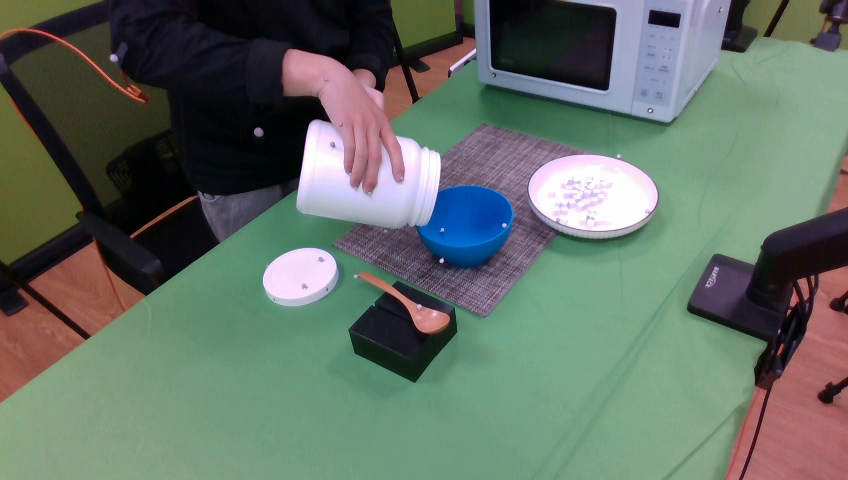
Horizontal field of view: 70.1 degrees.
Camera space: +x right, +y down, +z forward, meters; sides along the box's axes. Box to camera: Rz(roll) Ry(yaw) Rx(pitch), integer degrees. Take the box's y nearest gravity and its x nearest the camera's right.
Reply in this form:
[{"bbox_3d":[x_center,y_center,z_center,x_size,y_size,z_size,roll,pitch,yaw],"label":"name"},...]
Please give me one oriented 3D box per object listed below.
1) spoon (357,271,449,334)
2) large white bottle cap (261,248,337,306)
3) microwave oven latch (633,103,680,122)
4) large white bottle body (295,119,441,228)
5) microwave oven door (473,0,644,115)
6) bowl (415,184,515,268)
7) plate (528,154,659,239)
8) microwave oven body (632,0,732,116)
[{"bbox_3d":[-0.034,0.078,0.812,0.042,0.022,0.192,-34,42,-25],"label":"spoon"},{"bbox_3d":[-0.193,0.056,0.934,0.115,0.018,0.114,-4,41,4],"label":"large white bottle cap"},{"bbox_3d":[0.443,-0.249,1.157,0.078,0.029,0.030,21,49,30],"label":"microwave oven latch"},{"bbox_3d":[-0.078,-0.088,0.844,0.185,0.130,0.130,10,39,-11],"label":"large white bottle body"},{"bbox_3d":[0.257,-0.396,1.199,0.353,0.245,0.039,21,48,29],"label":"microwave oven door"},{"bbox_3d":[0.063,-0.011,0.922,0.151,0.077,0.150,-4,40,4],"label":"bowl"},{"bbox_3d":[0.274,-0.069,0.993,0.209,0.038,0.208,-2,43,2],"label":"plate"},{"bbox_3d":[0.377,-0.463,1.267,0.438,0.261,0.327,21,49,30],"label":"microwave oven body"}]
